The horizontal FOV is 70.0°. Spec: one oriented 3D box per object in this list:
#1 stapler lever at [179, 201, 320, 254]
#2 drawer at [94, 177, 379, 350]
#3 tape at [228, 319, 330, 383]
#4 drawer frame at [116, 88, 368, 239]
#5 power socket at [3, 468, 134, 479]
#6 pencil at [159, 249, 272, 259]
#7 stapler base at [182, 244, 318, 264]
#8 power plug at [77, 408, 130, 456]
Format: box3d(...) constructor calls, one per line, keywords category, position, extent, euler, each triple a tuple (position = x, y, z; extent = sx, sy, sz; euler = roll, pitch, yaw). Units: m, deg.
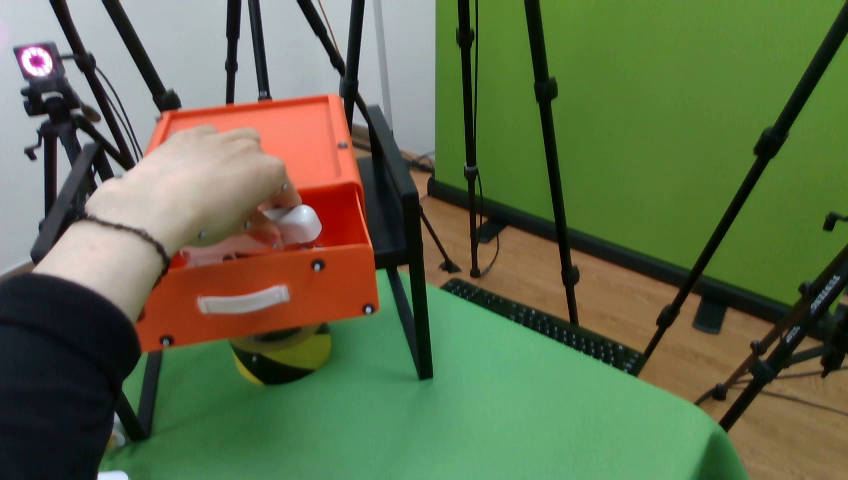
box3d(category="stapler lever", position=(-0.144, -0.010, 0.499), extent=(0.118, 0.040, 0.026), euler=(-1, 34, 6))
box3d(category="drawer", position=(-0.150, -0.012, 0.528), extent=(0.195, 0.074, 0.209), euler=(-9, 35, -7))
box3d(category="tape", position=(-0.166, 0.104, 0.697), extent=(0.117, 0.053, 0.115), euler=(-2, 36, 2))
box3d(category="drawer frame", position=(-0.169, -0.066, 0.601), extent=(0.202, 0.083, 0.211), euler=(-10, 36, -8))
box3d(category="power socket", position=(-0.366, 0.247, 0.532), extent=(0.227, 0.033, 0.071), euler=(-5, 35, -1))
box3d(category="pencil", position=(-0.162, 0.013, 0.527), extent=(0.193, 0.012, 0.012), euler=(-1, 34, 22))
box3d(category="stapler base", position=(-0.141, 0.012, 0.515), extent=(0.130, 0.024, 0.041), euler=(1, 34, 5))
box3d(category="power plug", position=(-0.327, 0.199, 0.611), extent=(0.072, 0.035, 0.052), euler=(-34, 23, 22))
